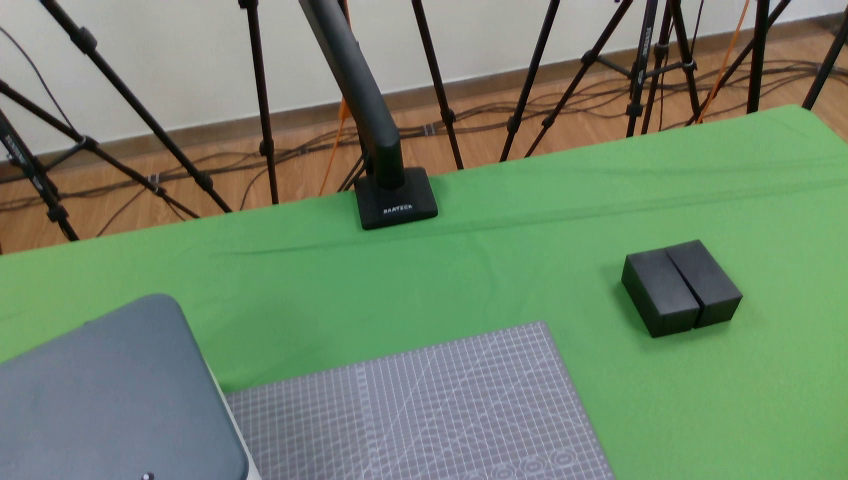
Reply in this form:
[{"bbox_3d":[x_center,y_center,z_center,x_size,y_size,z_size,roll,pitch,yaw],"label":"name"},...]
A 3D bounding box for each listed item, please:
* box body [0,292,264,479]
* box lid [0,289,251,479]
[{"bbox_3d":[-0.355,0.252,0.584,0.364,0.162,0.251,-27,51,-18],"label":"box body"},{"bbox_3d":[-0.359,0.201,0.529,0.372,0.015,0.260,-27,51,-19],"label":"box lid"}]
